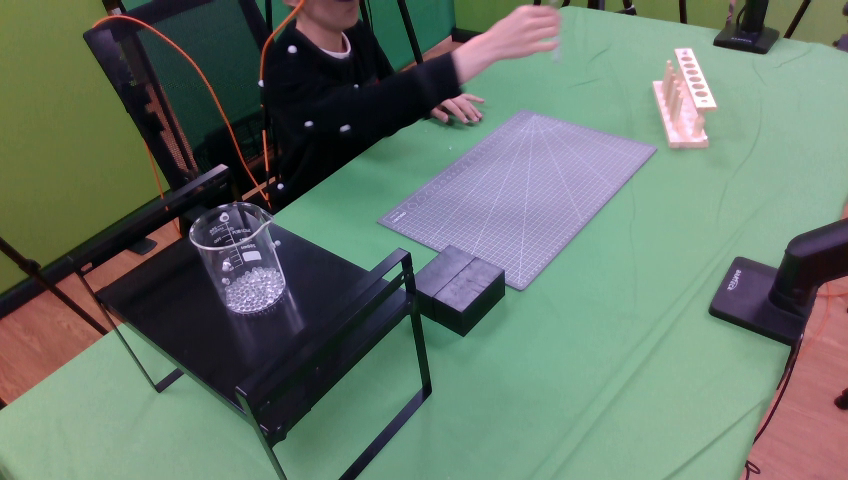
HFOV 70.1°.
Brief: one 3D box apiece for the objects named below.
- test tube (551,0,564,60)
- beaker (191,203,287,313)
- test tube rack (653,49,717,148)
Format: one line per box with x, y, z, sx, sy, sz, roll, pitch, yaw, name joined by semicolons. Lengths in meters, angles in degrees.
0.224;-0.368;1.015;0.017;0.151;0.017;-8;50;10;test tube
-0.189;0.021;0.642;0.084;0.101;0.073;-17;41;-11;beaker
0.502;-0.281;1.177;0.066;0.085;0.241;1;41;10;test tube rack
